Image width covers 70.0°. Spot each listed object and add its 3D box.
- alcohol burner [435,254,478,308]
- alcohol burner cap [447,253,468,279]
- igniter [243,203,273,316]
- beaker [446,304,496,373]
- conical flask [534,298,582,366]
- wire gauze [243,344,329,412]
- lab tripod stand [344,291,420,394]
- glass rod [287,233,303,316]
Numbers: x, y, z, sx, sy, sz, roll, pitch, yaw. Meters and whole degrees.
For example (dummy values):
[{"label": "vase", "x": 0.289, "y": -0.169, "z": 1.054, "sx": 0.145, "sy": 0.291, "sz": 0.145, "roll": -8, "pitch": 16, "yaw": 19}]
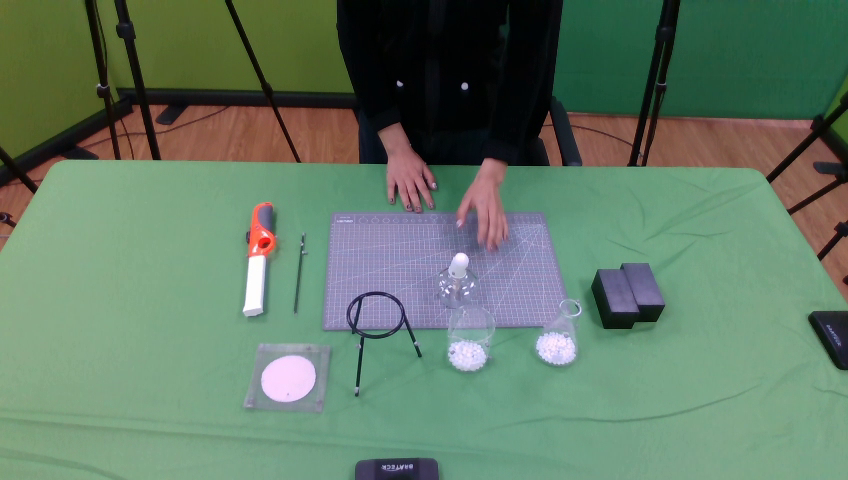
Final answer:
[{"label": "alcohol burner", "x": 0.058, "y": 0.066, "z": 1.073, "sx": 0.078, "sy": 0.120, "sz": 0.077, "roll": 1, "pitch": 48, "yaw": -1}, {"label": "alcohol burner cap", "x": 0.060, "y": 0.043, "z": 1.046, "sx": 0.034, "sy": 0.048, "sz": 0.033, "roll": 5, "pitch": 50, "yaw": -6}, {"label": "igniter", "x": -0.315, "y": 0.027, "z": 1.145, "sx": 0.057, "sy": 0.025, "sz": 0.274, "roll": -10, "pitch": 47, "yaw": 0}, {"label": "beaker", "x": 0.072, "y": 0.166, "z": 0.992, "sx": 0.084, "sy": 0.101, "sz": 0.073, "roll": -21, "pitch": 51, "yaw": -22}, {"label": "conical flask", "x": 0.229, "y": 0.149, "z": 1.005, "sx": 0.075, "sy": 0.122, "sz": 0.075, "roll": 2, "pitch": 46, "yaw": -2}, {"label": "wire gauze", "x": -0.221, "y": 0.219, "z": 0.981, "sx": 0.125, "sy": 0.011, "sz": 0.120, "roll": 2, "pitch": 45, "yaw": 0}, {"label": "lab tripod stand", "x": -0.075, "y": 0.155, "z": 0.967, "sx": 0.148, "sy": 0.132, "sz": 0.147, "roll": 3, "pitch": 44, "yaw": -3}, {"label": "glass rod", "x": -0.240, "y": 0.060, "z": 1.134, "sx": 0.008, "sy": 0.008, "sz": 0.198, "roll": 1, "pitch": 47, "yaw": -3}]
